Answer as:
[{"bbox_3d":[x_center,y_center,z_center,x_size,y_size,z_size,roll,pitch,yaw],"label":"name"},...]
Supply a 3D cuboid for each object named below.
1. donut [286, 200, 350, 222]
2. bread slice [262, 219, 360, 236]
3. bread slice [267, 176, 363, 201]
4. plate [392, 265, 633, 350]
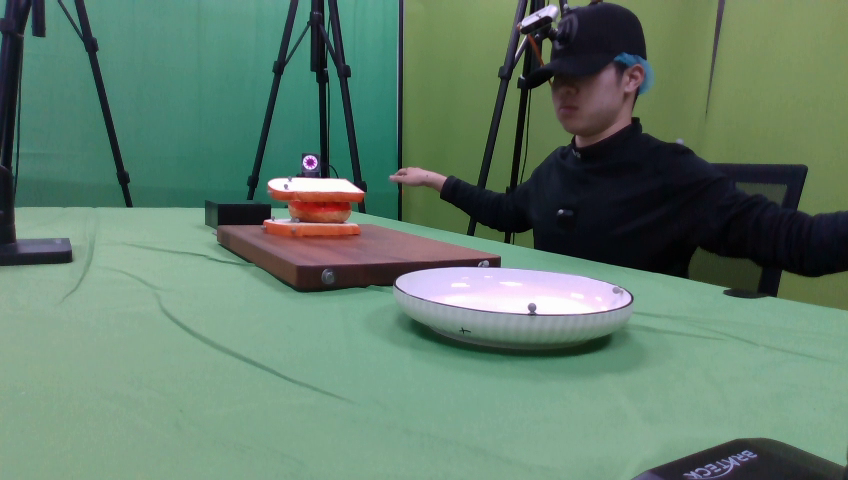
[{"bbox_3d":[-0.165,-0.051,0.938,0.099,0.048,0.099,4,8,0],"label":"donut"},{"bbox_3d":[-0.179,-0.021,0.931,0.132,0.019,0.104,-1,7,-35],"label":"bread slice"},{"bbox_3d":[-0.169,-0.078,0.923,0.135,0.018,0.106,-4,18,-26],"label":"bread slice"},{"bbox_3d":[0.075,0.057,0.533,0.209,0.038,0.209,3,7,0],"label":"plate"}]
